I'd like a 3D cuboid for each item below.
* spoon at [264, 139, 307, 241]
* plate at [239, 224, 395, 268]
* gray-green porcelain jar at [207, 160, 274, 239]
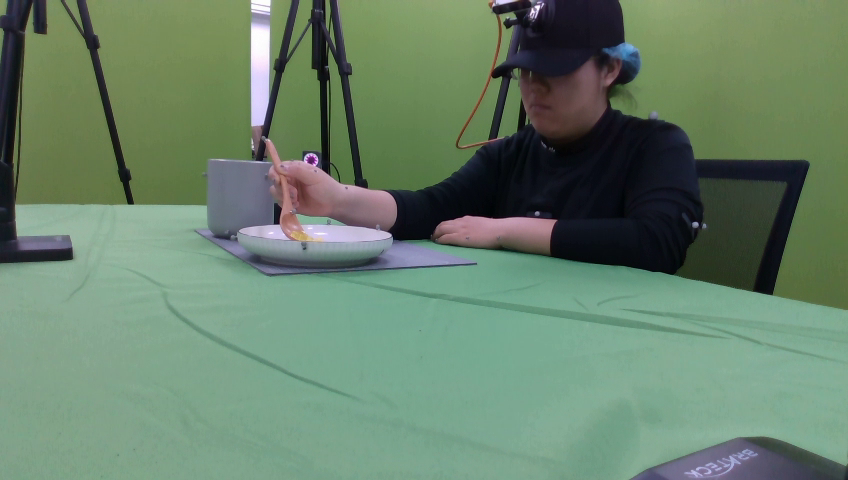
[{"bbox_3d":[-0.200,-0.072,0.860,0.021,0.193,0.042,-35,-32,29],"label":"spoon"},{"bbox_3d":[-0.144,0.007,0.823,0.208,0.039,0.207,3,7,0],"label":"plate"},{"bbox_3d":[-0.304,-0.068,1.003,0.106,0.126,0.106,3,7,0],"label":"gray-green porcelain jar"}]
